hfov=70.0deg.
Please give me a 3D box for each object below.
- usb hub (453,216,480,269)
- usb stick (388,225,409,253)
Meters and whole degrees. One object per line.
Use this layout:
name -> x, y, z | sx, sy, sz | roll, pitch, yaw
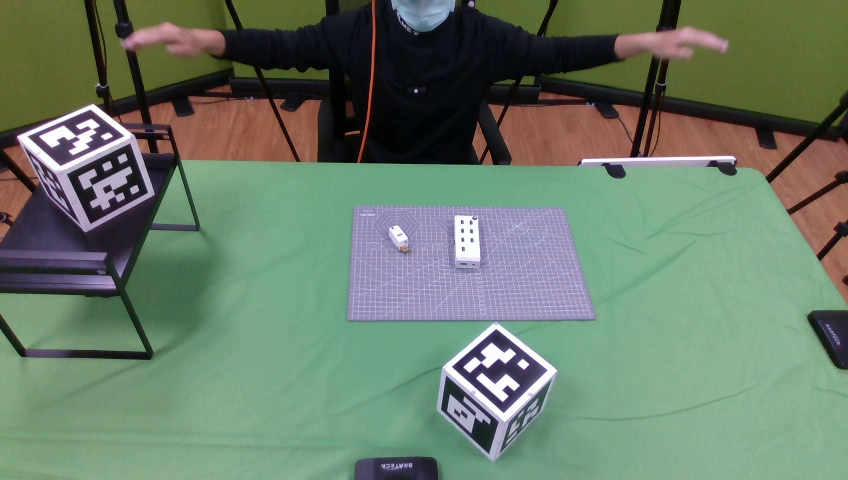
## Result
usb hub -> 0.084, 0.003, 1.196 | 0.049, 0.025, 0.124 | 3, 47, -2
usb stick -> -0.048, 0.000, 1.187 | 0.021, 0.027, 0.059 | -19, 53, -23
